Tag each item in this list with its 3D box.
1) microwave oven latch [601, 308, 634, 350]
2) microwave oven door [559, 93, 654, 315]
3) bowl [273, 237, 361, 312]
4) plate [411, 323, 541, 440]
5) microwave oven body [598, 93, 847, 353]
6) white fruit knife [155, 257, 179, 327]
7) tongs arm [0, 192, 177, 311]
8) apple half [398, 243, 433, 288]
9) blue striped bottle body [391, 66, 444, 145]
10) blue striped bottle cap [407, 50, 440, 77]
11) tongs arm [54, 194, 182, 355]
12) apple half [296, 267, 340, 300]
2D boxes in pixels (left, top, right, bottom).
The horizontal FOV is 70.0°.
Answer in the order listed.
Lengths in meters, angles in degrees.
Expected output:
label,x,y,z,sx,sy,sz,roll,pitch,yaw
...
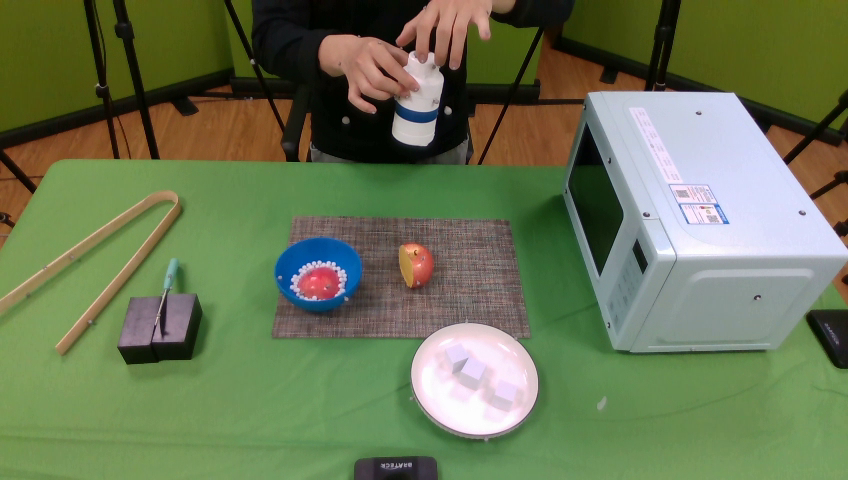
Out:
label,x,y,z,sx,sy,sz,roll,pitch,yaw
microwave oven latch,0.331,0.153,1.044,0.030,0.029,0.078,-2,45,-5
microwave oven door,0.327,-0.074,1.123,0.039,0.245,0.353,-1,46,-5
bowl,-0.186,0.074,1.069,0.151,0.077,0.150,3,46,-3
plate,0.082,0.228,0.976,0.208,0.039,0.206,2,45,-2
microwave oven body,0.475,-0.041,1.109,0.326,0.261,0.438,-1,45,-4
white fruit knife,-0.440,0.085,1.037,0.016,0.027,0.206,10,26,-19
tongs arm,-0.618,0.019,1.124,0.050,0.026,0.384,24,47,16
apple half,-0.012,0.046,1.115,0.053,0.075,0.080,-11,44,-19
blue striped bottle body,-0.009,-0.201,0.858,0.063,0.121,0.062,7,38,-5
blue striped bottle cap,0.000,-0.241,0.826,0.044,0.021,0.044,6,38,-4
tongs arm,-0.543,0.048,1.108,0.028,0.028,0.385,11,46,9
apple half,-0.187,0.070,1.067,0.081,0.033,0.081,2,47,-2
